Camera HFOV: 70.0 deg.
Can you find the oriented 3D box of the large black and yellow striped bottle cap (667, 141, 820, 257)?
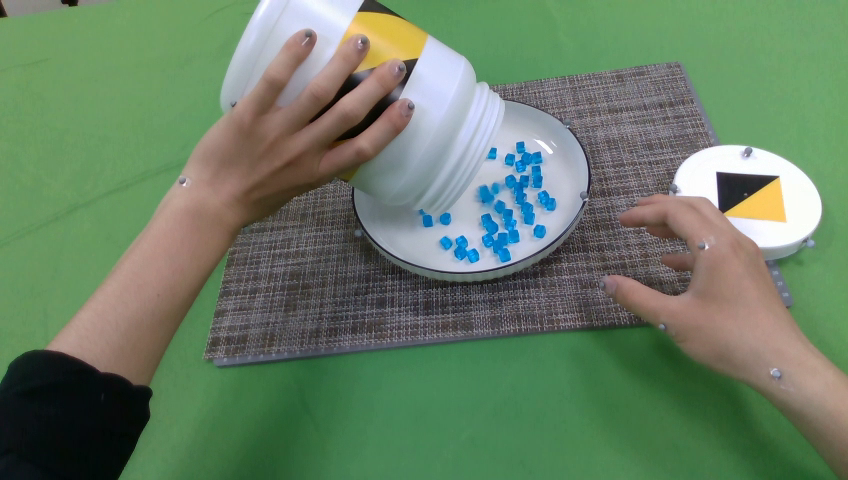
[{"bbox_3d":[0.263,-0.037,0.502,0.115,0.019,0.114,-2,54,3],"label":"large black and yellow striped bottle cap"}]

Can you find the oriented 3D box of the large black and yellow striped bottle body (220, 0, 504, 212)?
[{"bbox_3d":[-0.043,-0.111,0.465,0.185,0.131,0.130,28,55,-14],"label":"large black and yellow striped bottle body"}]

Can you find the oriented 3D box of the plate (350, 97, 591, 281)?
[{"bbox_3d":[0.040,-0.047,0.535,0.207,0.039,0.205,-5,52,6],"label":"plate"}]
